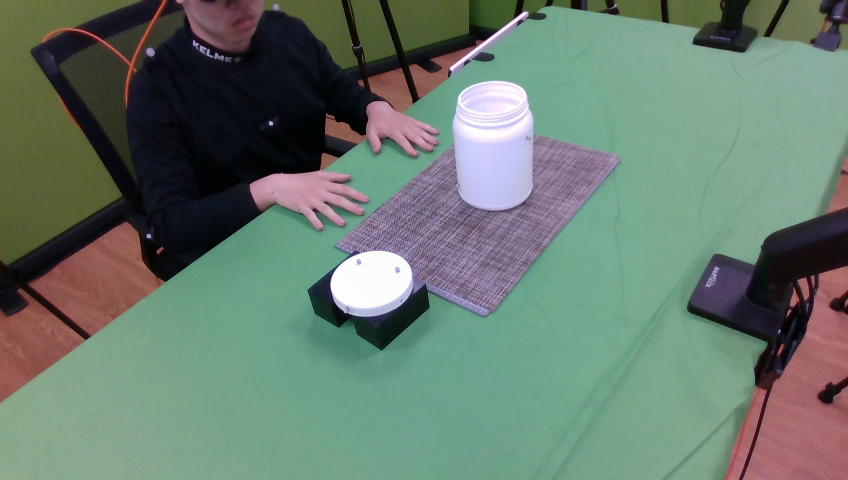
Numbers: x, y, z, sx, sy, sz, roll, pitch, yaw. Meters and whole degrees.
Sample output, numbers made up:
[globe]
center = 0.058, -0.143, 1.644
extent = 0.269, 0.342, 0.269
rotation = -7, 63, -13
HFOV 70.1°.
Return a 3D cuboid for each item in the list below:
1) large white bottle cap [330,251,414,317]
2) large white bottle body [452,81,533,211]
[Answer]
[large white bottle cap]
center = -0.072, 0.059, 0.836
extent = 0.115, 0.018, 0.114
rotation = -4, 41, 4
[large white bottle body]
center = 0.115, -0.156, 1.002
extent = 0.130, 0.185, 0.130
rotation = -5, 41, 4
